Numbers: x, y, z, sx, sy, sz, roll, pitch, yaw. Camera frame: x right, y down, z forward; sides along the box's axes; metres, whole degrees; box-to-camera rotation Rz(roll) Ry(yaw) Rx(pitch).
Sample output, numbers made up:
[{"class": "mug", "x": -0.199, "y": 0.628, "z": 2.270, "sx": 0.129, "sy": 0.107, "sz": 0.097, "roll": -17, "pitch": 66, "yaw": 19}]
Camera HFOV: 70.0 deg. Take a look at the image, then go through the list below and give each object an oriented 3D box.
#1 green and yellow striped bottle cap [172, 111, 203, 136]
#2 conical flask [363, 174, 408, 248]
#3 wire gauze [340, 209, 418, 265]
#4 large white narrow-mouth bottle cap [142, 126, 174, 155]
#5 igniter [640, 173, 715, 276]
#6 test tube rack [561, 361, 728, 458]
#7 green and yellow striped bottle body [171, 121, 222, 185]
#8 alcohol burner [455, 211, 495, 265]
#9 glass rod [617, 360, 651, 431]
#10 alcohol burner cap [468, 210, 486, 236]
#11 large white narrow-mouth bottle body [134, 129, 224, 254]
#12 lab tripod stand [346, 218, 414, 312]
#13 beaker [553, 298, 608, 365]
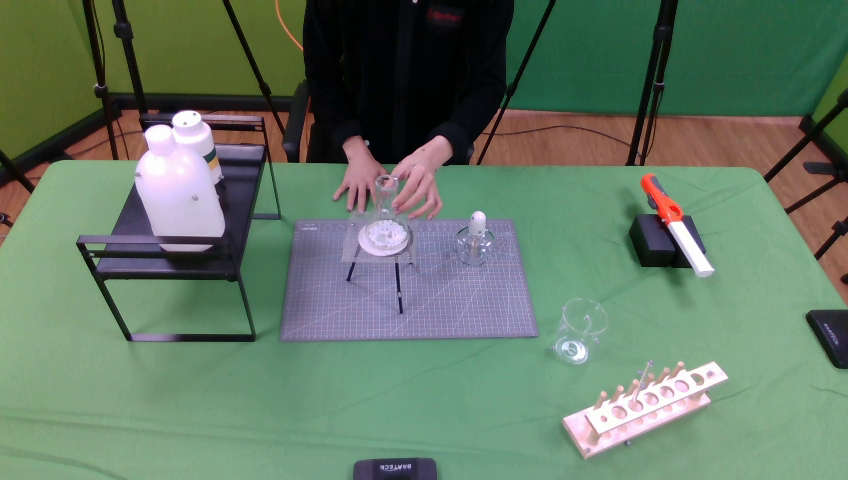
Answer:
[{"class": "green and yellow striped bottle cap", "x": -0.374, "y": -0.185, "z": 0.958, "sx": 0.045, "sy": 0.020, "sz": 0.045, "roll": 4, "pitch": 46, "yaw": -4}, {"class": "conical flask", "x": -0.063, "y": -0.050, "z": 0.985, "sx": 0.075, "sy": 0.122, "sz": 0.075, "roll": 2, "pitch": 46, "yaw": -1}, {"class": "wire gauze", "x": -0.074, "y": -0.006, "z": 1.024, "sx": 0.121, "sy": 0.011, "sz": 0.124, "roll": 2, "pitch": 48, "yaw": 1}, {"class": "large white narrow-mouth bottle cap", "x": -0.356, "y": -0.133, "z": 0.811, "sx": 0.038, "sy": 0.024, "sz": 0.037, "roll": 2, "pitch": 48, "yaw": -2}, {"class": "igniter", "x": 0.495, "y": -0.039, "z": 1.204, "sx": 0.057, "sy": 0.025, "sz": 0.274, "roll": -2, "pitch": 47, "yaw": -13}, {"class": "test tube rack", "x": 0.341, "y": 0.248, "z": 0.940, "sx": 0.243, "sy": 0.085, "sz": 0.066, "roll": -15, "pitch": 49, "yaw": -18}, {"class": "green and yellow striped bottle body", "x": -0.375, "y": -0.149, "z": 0.995, "sx": 0.063, "sy": 0.120, "sz": 0.063, "roll": 2, "pitch": 46, "yaw": -2}, {"class": "alcohol burner", "x": 0.097, "y": -0.010, "z": 1.147, "sx": 0.078, "sy": 0.120, "sz": 0.077, "roll": 1, "pitch": 47, "yaw": 0}, {"class": "glass rod", "x": 0.297, "y": 0.227, "z": 0.865, "sx": 0.008, "sy": 0.201, "sz": 0.008, "roll": -1, "pitch": 48, "yaw": 2}, {"class": "alcohol burner cap", "x": 0.099, "y": -0.033, "z": 1.119, "sx": 0.034, "sy": 0.048, "sz": 0.033, "roll": 0, "pitch": 52, "yaw": 0}, {"class": "large white narrow-mouth bottle body", "x": -0.358, "y": -0.075, "z": 0.875, "sx": 0.102, "sy": 0.195, "sz": 0.101, "roll": 2, "pitch": 48, "yaw": -1}, {"class": "lab tripod stand", "x": -0.070, "y": 0.037, "z": 1.075, "sx": 0.148, "sy": 0.132, "sz": 0.147, "roll": 1, "pitch": 47, "yaw": -1}, {"class": "beaker", "x": 0.260, "y": 0.154, "z": 1.015, "sx": 0.073, "sy": 0.101, "sz": 0.084, "roll": 37, "pitch": 54, "yaw": 27}]
